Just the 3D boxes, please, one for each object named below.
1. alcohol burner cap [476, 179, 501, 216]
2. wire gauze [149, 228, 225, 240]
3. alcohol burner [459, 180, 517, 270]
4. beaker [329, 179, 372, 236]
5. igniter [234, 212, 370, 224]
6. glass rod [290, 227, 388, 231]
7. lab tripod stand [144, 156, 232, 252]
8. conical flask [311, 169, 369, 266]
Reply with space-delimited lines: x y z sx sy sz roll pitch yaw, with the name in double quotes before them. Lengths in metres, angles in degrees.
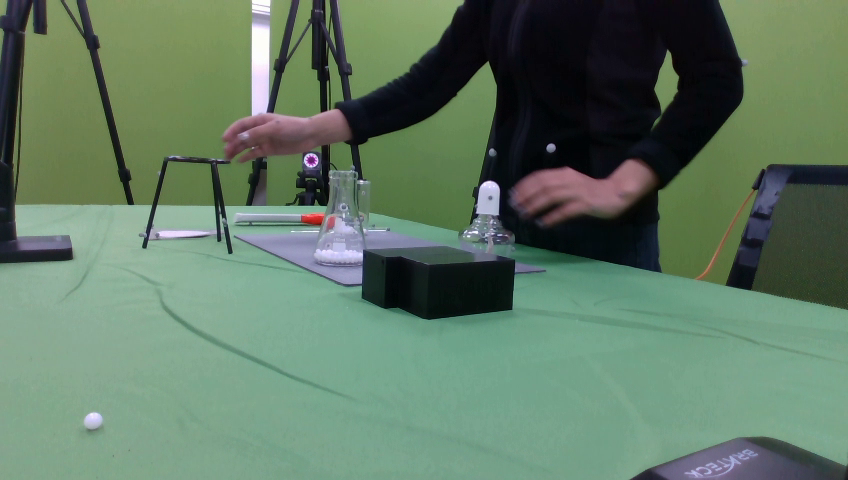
"alcohol burner cap" 0.086 -0.056 0.801 0.034 0.048 0.034 4 2 0
"wire gauze" -0.400 -0.012 1.019 0.122 0.011 0.124 -1 6 -26
"alcohol burner" 0.086 -0.021 0.805 0.078 0.119 0.078 3 9 0
"beaker" -0.137 -0.061 1.101 0.084 0.100 0.074 5 8 20
"igniter" -0.247 -0.046 1.253 0.278 0.025 0.057 -1 -3 -27
"glass rod" -0.161 -0.022 1.177 0.201 0.008 0.008 -2 8 -28
"lab tripod stand" -0.325 -0.054 0.881 0.148 0.131 0.148 4 7 0
"conical flask" -0.107 -0.031 0.786 0.075 0.122 0.075 2 8 0
